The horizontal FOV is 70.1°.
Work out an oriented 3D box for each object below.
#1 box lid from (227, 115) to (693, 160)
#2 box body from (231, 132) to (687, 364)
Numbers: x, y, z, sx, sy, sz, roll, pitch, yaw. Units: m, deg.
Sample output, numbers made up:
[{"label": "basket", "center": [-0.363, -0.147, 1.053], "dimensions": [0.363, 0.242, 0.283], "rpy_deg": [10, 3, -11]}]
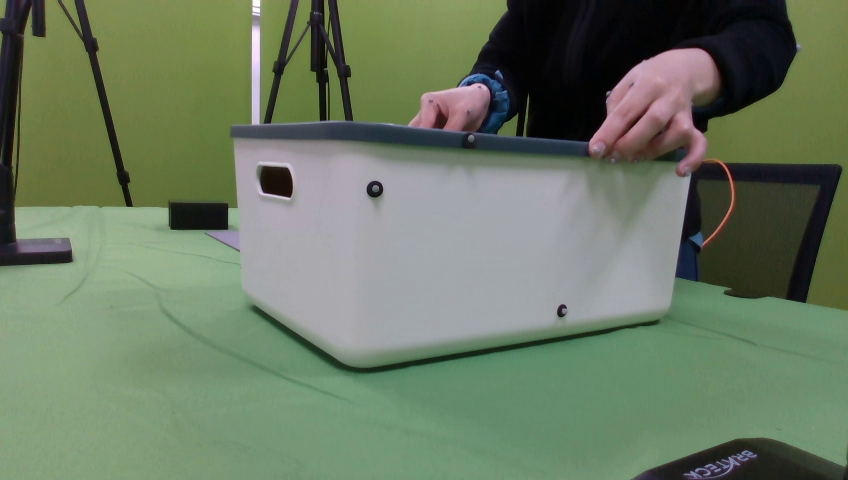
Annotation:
[{"label": "box lid", "center": [0.031, -0.086, 0.553], "dimensions": [0.373, 0.015, 0.262], "rpy_deg": [-2, 8, -33]}, {"label": "box body", "center": [0.031, -0.013, 0.563], "dimensions": [0.366, 0.160, 0.253], "rpy_deg": [-3, 8, -33]}]
